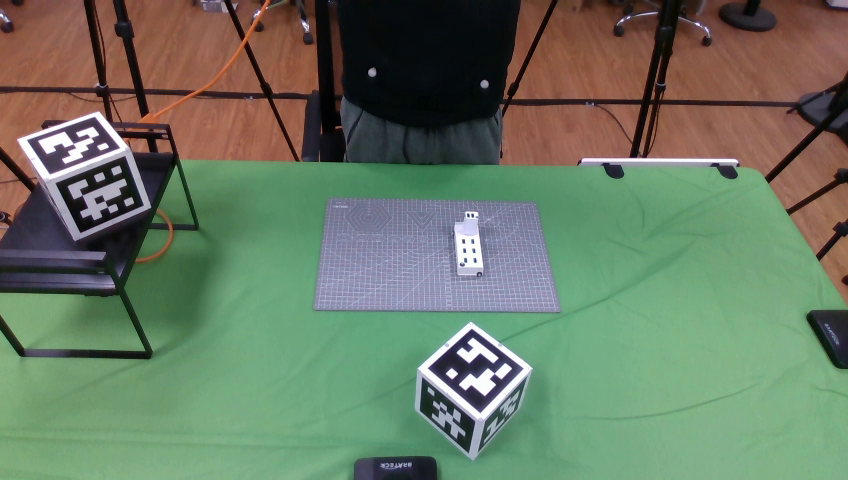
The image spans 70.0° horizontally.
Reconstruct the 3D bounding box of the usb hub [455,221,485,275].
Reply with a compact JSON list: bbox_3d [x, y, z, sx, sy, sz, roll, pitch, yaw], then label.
[{"bbox_3d":[0.088,0.014,1.177,0.049,0.025,0.124,0,46,-3],"label":"usb hub"}]

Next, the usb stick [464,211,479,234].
[{"bbox_3d":[0.092,-0.029,1.179,0.027,0.059,0.021,-2,47,-2],"label":"usb stick"}]
